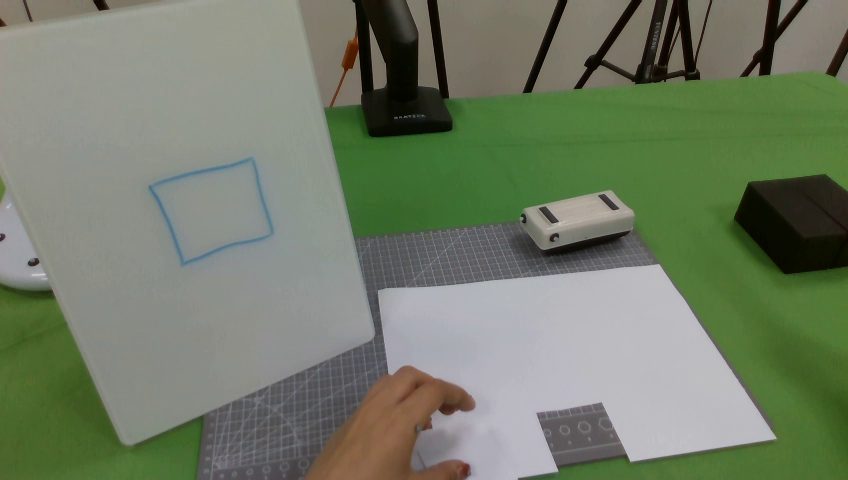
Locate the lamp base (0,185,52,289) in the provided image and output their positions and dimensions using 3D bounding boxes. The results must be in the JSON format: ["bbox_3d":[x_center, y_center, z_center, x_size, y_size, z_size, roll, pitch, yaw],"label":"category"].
[{"bbox_3d":[-0.386,-0.069,0.597,0.178,0.182,0.160,20,43,25],"label":"lamp base"}]

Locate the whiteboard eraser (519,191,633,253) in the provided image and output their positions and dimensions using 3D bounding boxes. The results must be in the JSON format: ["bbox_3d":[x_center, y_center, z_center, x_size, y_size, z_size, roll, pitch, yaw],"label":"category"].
[{"bbox_3d":[0.165,-0.018,0.659,0.113,0.042,0.055,-12,42,-16],"label":"whiteboard eraser"}]

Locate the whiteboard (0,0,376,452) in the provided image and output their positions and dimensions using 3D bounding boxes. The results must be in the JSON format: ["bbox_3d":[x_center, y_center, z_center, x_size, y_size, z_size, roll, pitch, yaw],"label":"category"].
[{"bbox_3d":[-0.192,-0.029,0.503,0.218,0.307,0.142,-21,25,-23],"label":"whiteboard"}]
